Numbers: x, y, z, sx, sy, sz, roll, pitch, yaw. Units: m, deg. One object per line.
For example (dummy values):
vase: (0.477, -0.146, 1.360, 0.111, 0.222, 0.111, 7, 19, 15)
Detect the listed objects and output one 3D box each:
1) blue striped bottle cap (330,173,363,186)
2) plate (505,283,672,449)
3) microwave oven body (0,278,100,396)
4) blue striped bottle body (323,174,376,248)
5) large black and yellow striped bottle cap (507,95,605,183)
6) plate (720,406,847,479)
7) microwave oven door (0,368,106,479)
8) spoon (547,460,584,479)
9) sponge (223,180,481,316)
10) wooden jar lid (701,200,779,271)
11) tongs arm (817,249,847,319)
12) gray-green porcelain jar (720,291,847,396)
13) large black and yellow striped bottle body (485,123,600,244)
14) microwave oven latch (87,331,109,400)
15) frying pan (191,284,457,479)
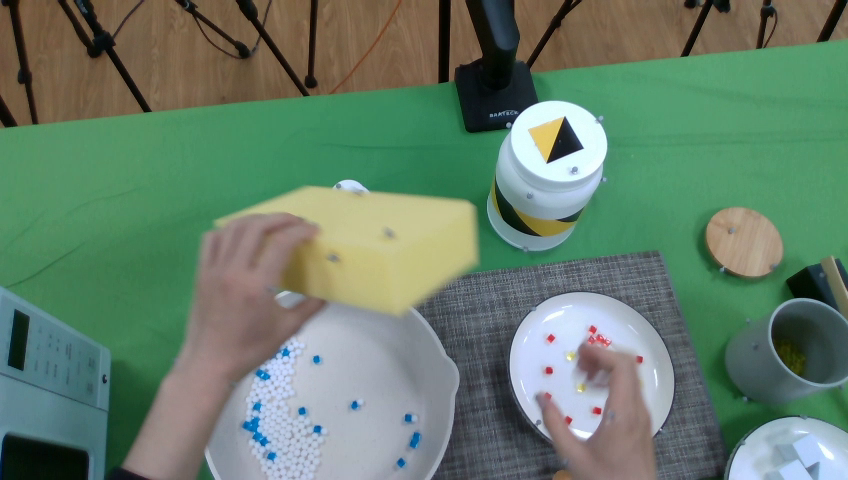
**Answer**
blue striped bottle cap: (-0.097, -0.061, 0.753, 0.044, 0.021, 0.044, 0, 64, 0)
plate: (0.204, 0.157, 0.769, 0.209, 0.038, 0.207, 1, 67, -1)
microwave oven body: (-0.521, 0.291, 0.564, 0.326, 0.262, 0.438, -7, 68, -5)
blue striped bottle body: (-0.098, -0.041, 0.801, 0.063, 0.121, 0.062, 1, 66, -2)
large black and yellow striped bottle cap: (0.156, -0.121, 0.717, 0.115, 0.019, 0.114, 1, 66, -1)
plate: (0.453, 0.305, 0.719, 0.208, 0.039, 0.206, 1, 67, -1)
microwave oven door: (-0.371, 0.311, 0.555, 0.039, 0.245, 0.353, -7, 67, -5)
spoon: (0.227, 0.324, 0.709, 0.193, 0.022, 0.041, 32, 53, 9)
sponge: (-0.067, -0.002, 0.553, 0.205, 0.061, 0.118, 10, 26, 33)
wooden jar lid: (0.446, -0.005, 0.861, 0.108, 0.021, 0.107, 1, 68, -1)
tongs arm: (0.577, 0.190, 0.742, 0.051, 0.026, 0.383, -12, 78, -8)
gray-green porcelain jar: (0.436, 0.132, 0.744, 0.106, 0.127, 0.105, 1, 66, -2)
large black and yellow striped bottle body: (0.154, -0.087, 0.796, 0.131, 0.185, 0.130, 1, 66, -1)
microwave oven latch: (-0.400, 0.153, 0.732, 0.030, 0.030, 0.078, -6, 68, -5)
frying pan: (-0.096, 0.273, 0.674, 0.307, 0.103, 0.483, -9, 59, -3)
